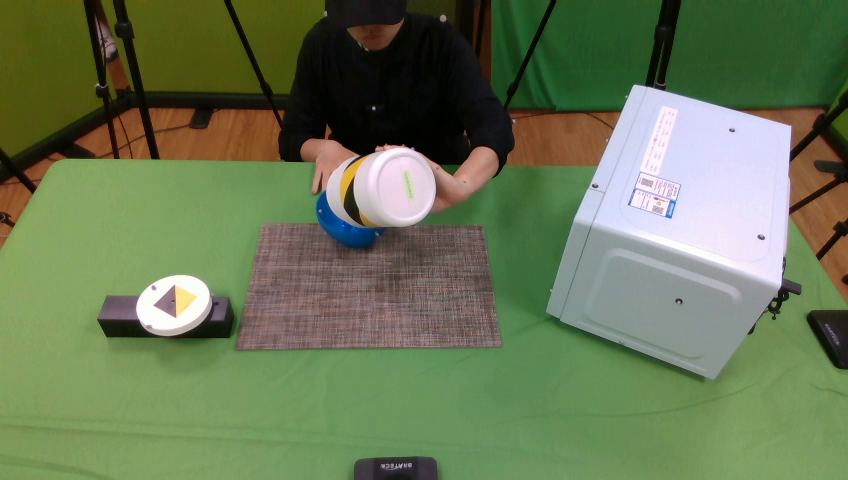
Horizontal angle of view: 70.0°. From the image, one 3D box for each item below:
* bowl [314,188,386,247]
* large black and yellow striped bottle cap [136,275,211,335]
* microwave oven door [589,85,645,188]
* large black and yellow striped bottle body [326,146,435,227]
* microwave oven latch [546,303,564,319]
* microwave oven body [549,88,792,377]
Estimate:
[{"bbox_3d":[-0.136,-0.039,1.180,0.151,0.077,0.150,2,46,-2],"label":"bowl"},{"bbox_3d":[-0.412,0.105,0.999,0.115,0.019,0.114,3,46,-3],"label":"large black and yellow striped bottle cap"},{"bbox_3d":[0.341,-0.107,1.149,0.039,0.245,0.354,20,48,15],"label":"microwave oven door"},{"bbox_3d":[-0.082,-0.087,1.042,0.131,0.131,0.183,-32,18,-30],"label":"large black and yellow striped bottle body"},{"bbox_3d":[0.242,0.102,1.081,0.030,0.029,0.079,21,48,17],"label":"microwave oven latch"},{"bbox_3d":[0.456,-0.028,1.088,0.325,0.261,0.440,20,47,16],"label":"microwave oven body"}]
